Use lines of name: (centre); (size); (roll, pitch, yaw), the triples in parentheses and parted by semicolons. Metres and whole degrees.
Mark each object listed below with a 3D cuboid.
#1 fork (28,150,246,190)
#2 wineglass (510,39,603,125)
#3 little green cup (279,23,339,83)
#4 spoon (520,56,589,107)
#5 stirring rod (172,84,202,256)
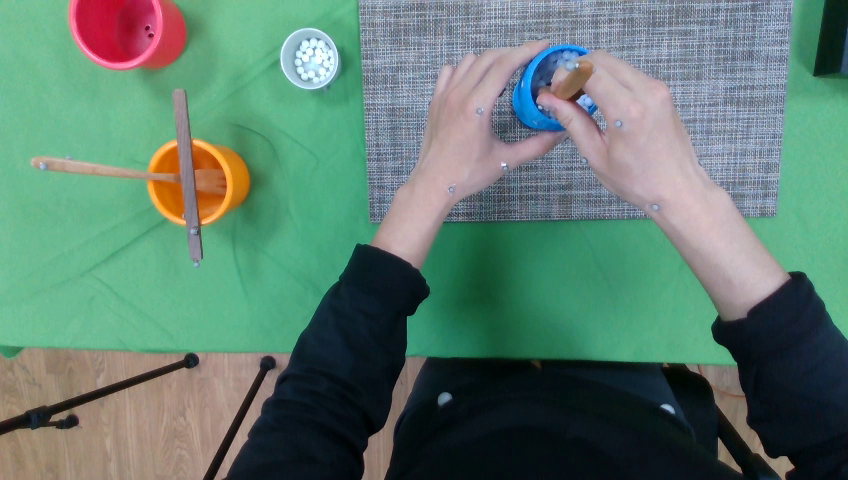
fork: (-0.286, -0.073, 0.627); (0.209, 0.018, 0.028); (3, 112, -41)
wineglass: (0.119, -0.144, 0.571); (0.073, 0.172, 0.074); (1, 100, 4)
little green cup: (-0.120, -0.197, 0.648); (0.061, 0.038, 0.062); (1, 101, 4)
spoon: (0.102, -0.117, 0.462); (0.041, 0.193, 0.022); (15, 100, 1)
stirring rod: (-0.243, -0.070, 0.623); (0.014, 0.006, 0.176); (-1, 100, 4)
